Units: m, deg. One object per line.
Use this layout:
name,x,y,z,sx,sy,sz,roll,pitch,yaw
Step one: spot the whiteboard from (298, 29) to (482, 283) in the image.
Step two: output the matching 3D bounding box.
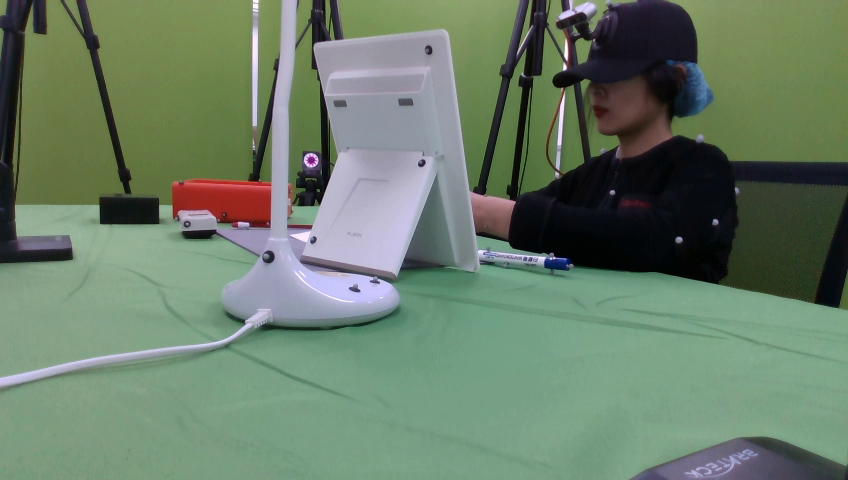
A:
whiteboard,-0.075,-0.082,0.741,0.216,0.305,0.144,9,29,37

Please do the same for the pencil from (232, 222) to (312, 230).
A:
pencil,-0.261,-0.025,1.141,0.195,0.012,0.012,2,7,-26

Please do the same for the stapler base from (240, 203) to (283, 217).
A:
stapler base,-0.349,-0.066,1.309,0.041,0.024,0.131,20,6,12

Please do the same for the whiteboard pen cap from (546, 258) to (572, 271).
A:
whiteboard pen cap,0.175,0.032,0.790,0.033,0.018,0.018,3,6,37

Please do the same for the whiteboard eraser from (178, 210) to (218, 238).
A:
whiteboard eraser,-0.380,-0.027,1.014,0.056,0.042,0.112,0,8,-25

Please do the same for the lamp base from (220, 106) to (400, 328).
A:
lamp base,-0.101,-0.023,0.531,0.160,0.180,0.179,4,10,10

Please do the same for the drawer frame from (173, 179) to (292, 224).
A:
drawer frame,-0.400,-0.086,1.300,0.214,0.082,0.201,1,8,-8

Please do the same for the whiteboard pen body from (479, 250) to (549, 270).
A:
whiteboard pen body,0.130,0.028,0.827,0.140,0.017,0.017,7,9,38

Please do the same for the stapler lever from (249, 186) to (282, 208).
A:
stapler lever,-0.341,-0.092,1.308,0.027,0.040,0.118,20,4,12

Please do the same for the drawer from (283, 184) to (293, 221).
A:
drawer,-0.396,-0.085,1.301,0.212,0.073,0.194,1,8,-7
